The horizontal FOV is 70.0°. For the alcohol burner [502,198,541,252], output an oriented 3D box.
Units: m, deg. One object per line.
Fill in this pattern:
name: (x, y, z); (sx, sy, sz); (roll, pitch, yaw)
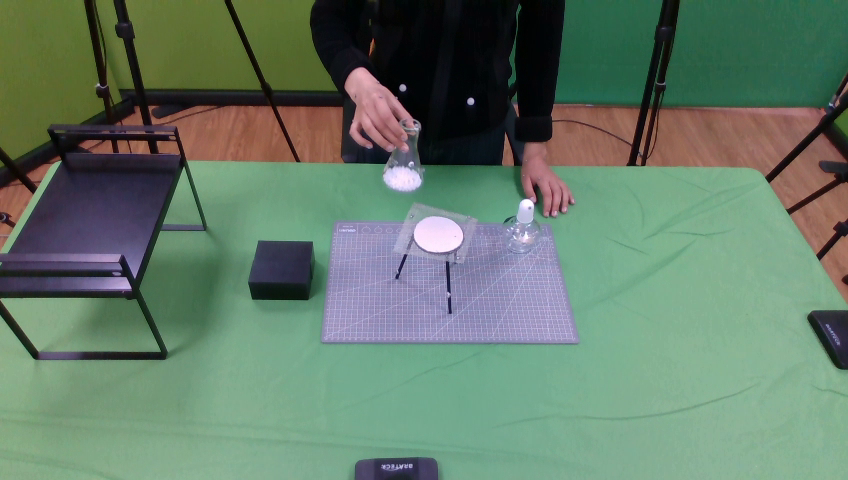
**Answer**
alcohol burner: (0.192, -0.033, 1.178); (0.078, 0.119, 0.077); (3, 44, -2)

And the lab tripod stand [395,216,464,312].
lab tripod stand: (0.023, 0.037, 1.084); (0.148, 0.132, 0.147); (4, 46, -4)

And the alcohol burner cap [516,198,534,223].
alcohol burner cap: (0.194, -0.059, 1.152); (0.034, 0.048, 0.033); (0, 50, 1)

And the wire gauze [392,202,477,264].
wire gauze: (0.021, -0.011, 1.037); (0.121, 0.011, 0.124); (14, 47, 8)

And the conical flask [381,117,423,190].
conical flask: (-0.030, -0.152, 1.043); (0.075, 0.122, 0.075); (7, 45, -6)
